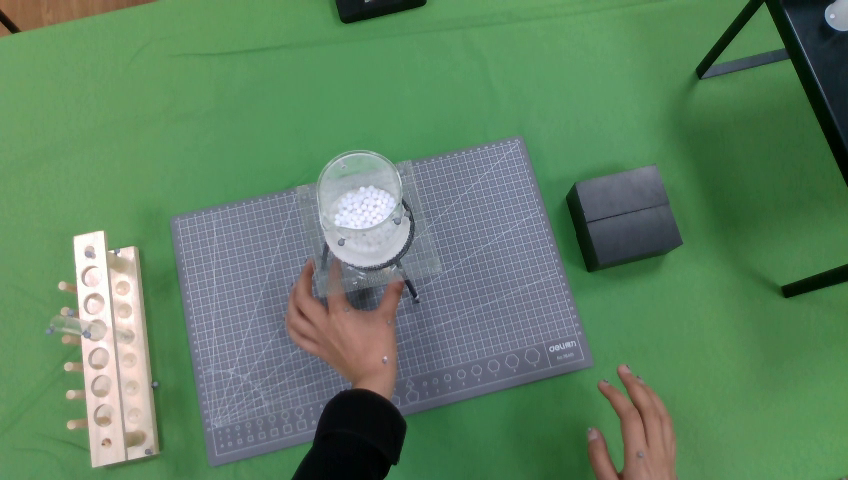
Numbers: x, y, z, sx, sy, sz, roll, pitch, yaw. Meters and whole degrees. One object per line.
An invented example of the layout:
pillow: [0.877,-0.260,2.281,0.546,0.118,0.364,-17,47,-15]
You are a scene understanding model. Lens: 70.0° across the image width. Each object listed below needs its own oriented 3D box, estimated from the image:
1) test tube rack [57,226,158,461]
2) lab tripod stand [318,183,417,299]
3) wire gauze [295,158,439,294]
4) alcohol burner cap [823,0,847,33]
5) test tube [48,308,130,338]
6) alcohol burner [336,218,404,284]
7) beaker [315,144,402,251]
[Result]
test tube rack: [-0.355,0.115,0.665,0.067,0.085,0.241,-11,77,-3]
lab tripod stand: [-0.056,-0.004,0.670,0.148,0.132,0.147,0,75,1]
wire gauze: [-0.058,-0.015,0.605,0.125,0.011,0.121,-12,77,-6]
alcohol burner cap: [0.423,-0.232,0.595,0.034,0.048,0.033,0,75,-1]
test tube: [-0.338,0.087,0.621,0.017,0.151,0.017,1,76,-3]
alcohol burner: [-0.061,0.008,0.677,0.078,0.119,0.077,1,75,-2]
beaker: [-0.059,-0.031,0.559,0.074,0.100,0.084,41,79,9]
